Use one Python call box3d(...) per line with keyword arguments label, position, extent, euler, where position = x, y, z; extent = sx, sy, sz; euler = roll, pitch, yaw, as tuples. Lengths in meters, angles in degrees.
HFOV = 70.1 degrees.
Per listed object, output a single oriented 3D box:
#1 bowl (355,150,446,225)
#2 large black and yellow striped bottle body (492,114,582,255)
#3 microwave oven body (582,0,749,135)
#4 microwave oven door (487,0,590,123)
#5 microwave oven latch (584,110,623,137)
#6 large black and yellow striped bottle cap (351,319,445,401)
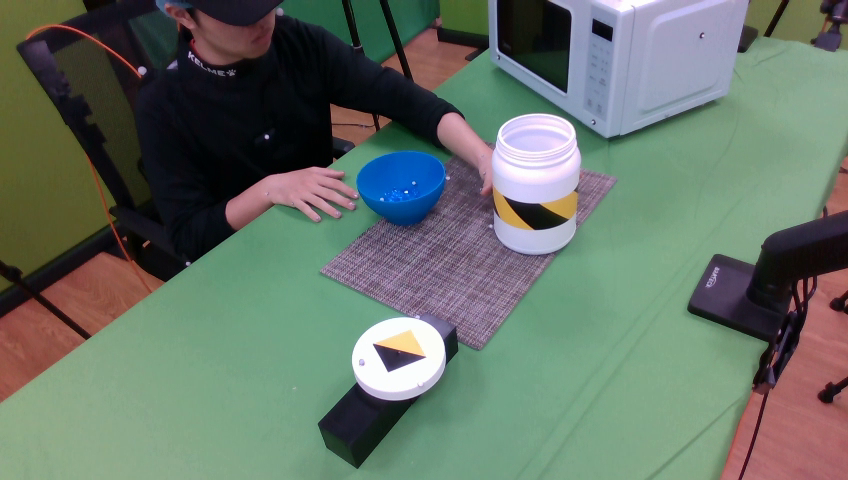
box3d(label="bowl", position=(-0.035, -0.078, 1.017), extent=(0.151, 0.077, 0.150), euler=(-4, 40, 4))
box3d(label="large black and yellow striped bottle body", position=(0.169, -0.083, 0.912), extent=(0.131, 0.185, 0.130), euler=(-4, 41, 4))
box3d(label="microwave oven body", position=(0.382, -0.444, 1.246), extent=(0.327, 0.261, 0.437), euler=(-22, 42, -16))
box3d(label="microwave oven door", position=(0.232, -0.420, 1.230), extent=(0.039, 0.245, 0.352), euler=(-22, 43, -16))
box3d(label="microwave oven latch", position=(0.337, -0.222, 1.142), extent=(0.030, 0.029, 0.078), euler=(-21, 42, -14))
box3d(label="large black and yellow striped bottle cap", position=(-0.031, 0.143, 0.734), extent=(0.115, 0.019, 0.114), euler=(-3, 40, 3))
